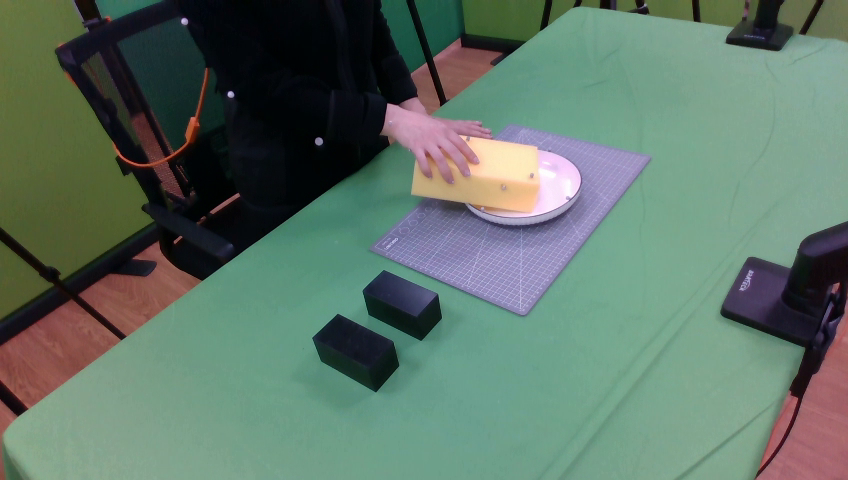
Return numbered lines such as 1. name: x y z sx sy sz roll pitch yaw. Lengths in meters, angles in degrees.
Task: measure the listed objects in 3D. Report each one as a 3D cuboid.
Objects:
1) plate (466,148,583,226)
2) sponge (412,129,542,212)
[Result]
1. plate: 0.167 -0.089 1.043 0.209 0.038 0.208 -5 40 5
2. sponge: 0.090 -0.118 1.025 0.207 0.061 0.117 8 42 -2
